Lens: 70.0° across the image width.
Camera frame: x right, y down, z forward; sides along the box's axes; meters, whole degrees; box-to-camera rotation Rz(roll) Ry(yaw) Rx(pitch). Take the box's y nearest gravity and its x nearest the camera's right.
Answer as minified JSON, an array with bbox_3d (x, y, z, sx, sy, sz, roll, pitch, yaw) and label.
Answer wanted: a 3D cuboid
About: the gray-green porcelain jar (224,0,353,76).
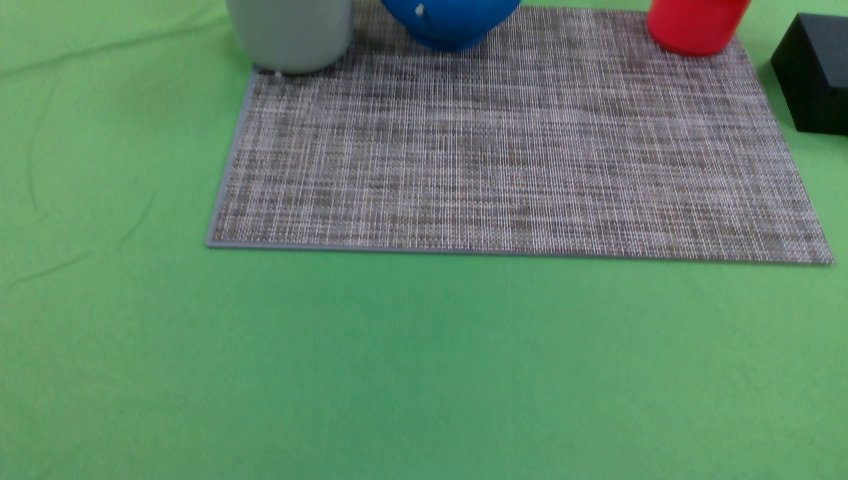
[{"bbox_3d":[-0.115,-0.212,0.504,0.106,0.127,0.105,1,55,-2],"label":"gray-green porcelain jar"}]

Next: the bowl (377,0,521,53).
[{"bbox_3d":[0.021,-0.226,0.550,0.151,0.077,0.150,1,55,-2],"label":"bowl"}]

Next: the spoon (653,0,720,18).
[{"bbox_3d":[0.280,-0.219,0.518,0.041,0.192,0.022,-35,109,-22],"label":"spoon"}]
